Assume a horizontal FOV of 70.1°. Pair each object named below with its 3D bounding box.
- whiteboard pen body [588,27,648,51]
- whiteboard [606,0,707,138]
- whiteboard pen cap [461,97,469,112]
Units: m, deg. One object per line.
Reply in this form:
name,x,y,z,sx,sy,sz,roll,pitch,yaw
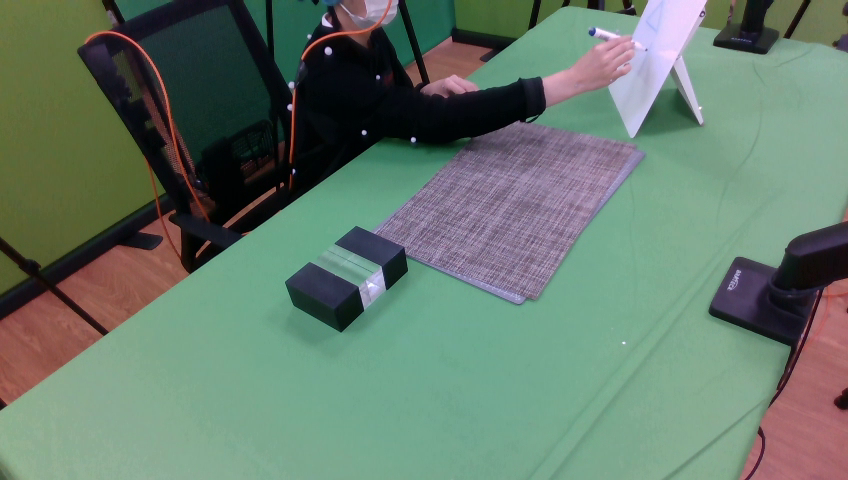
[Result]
whiteboard pen body,0.360,-0.367,1.111,0.142,0.017,0.017,6,34,-27
whiteboard,0.496,-0.358,1.147,0.144,0.305,0.216,11,40,-7
whiteboard pen cap,0.087,-0.288,1.286,0.018,0.018,0.033,-3,48,5
